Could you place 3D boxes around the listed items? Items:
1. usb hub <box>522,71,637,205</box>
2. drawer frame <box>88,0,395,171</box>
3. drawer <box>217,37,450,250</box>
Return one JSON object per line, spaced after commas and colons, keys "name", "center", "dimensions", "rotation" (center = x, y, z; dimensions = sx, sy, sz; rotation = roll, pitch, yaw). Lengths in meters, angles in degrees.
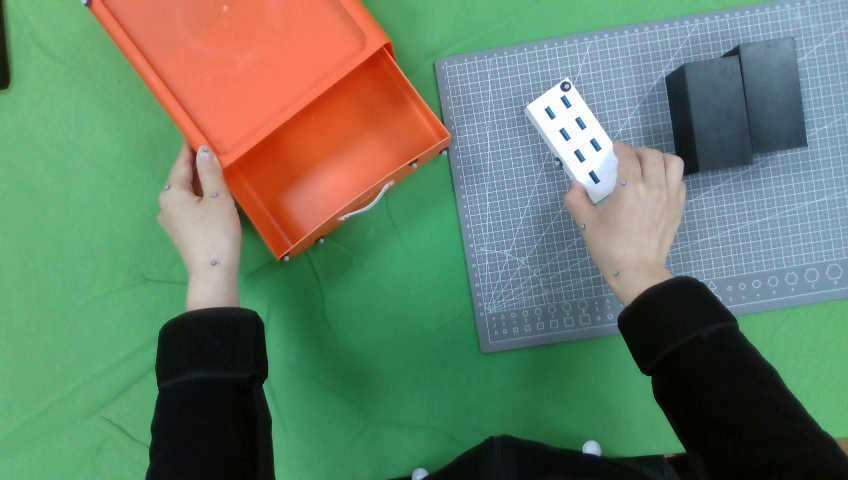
{"name": "usb hub", "center": [0.152, -0.099, 0.591], "dimensions": [0.049, 0.025, 0.125], "rotation": [-35, 92, 1]}
{"name": "drawer frame", "center": [-0.169, -0.205, 0.566], "dimensions": [0.201, 0.083, 0.213], "rotation": [-37, 90, 3]}
{"name": "drawer", "center": [-0.112, -0.128, 0.572], "dimensions": [0.194, 0.073, 0.211], "rotation": [-35, 90, 3]}
